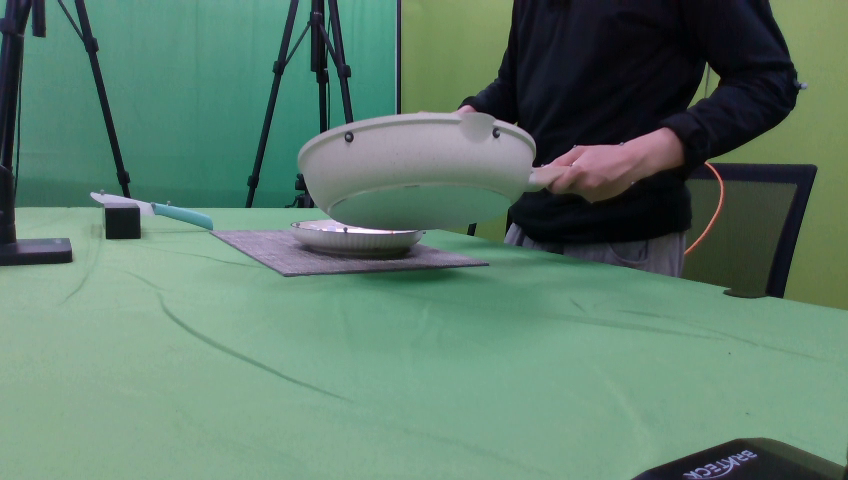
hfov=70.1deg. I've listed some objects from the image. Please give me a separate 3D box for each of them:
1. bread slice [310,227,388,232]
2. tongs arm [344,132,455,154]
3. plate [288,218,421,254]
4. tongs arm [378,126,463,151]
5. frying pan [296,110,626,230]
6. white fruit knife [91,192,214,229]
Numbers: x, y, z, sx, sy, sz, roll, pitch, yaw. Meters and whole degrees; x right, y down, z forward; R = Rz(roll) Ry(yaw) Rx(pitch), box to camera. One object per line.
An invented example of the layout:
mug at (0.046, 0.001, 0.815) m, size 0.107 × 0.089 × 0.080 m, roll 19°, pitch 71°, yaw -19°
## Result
bread slice at (-0.115, -0.005, 0.950) m, size 0.134 × 0.018 × 0.107 m, roll 3°, pitch 6°, yaw -7°
tongs arm at (-0.026, -0.168, 1.051) m, size 0.050 × 0.026 × 0.386 m, roll -8°, pitch 3°, yaw 21°
plate at (-0.109, -0.007, 0.956) m, size 0.208 × 0.039 × 0.207 m, roll 2°, pitch 7°, yaw 0°
tongs arm at (0.005, -0.171, 1.038) m, size 0.028 × 0.028 × 0.389 m, roll -12°, pitch 2°, yaw 22°
frying pan at (0.085, -0.084, 0.791) m, size 0.490 × 0.102 × 0.305 m, roll -7°, pitch -8°, yaw -27°
white fruit knife at (-0.478, -0.055, 1.077) m, size 0.208 × 0.027 × 0.016 m, roll 14°, pitch -2°, yaw -30°
